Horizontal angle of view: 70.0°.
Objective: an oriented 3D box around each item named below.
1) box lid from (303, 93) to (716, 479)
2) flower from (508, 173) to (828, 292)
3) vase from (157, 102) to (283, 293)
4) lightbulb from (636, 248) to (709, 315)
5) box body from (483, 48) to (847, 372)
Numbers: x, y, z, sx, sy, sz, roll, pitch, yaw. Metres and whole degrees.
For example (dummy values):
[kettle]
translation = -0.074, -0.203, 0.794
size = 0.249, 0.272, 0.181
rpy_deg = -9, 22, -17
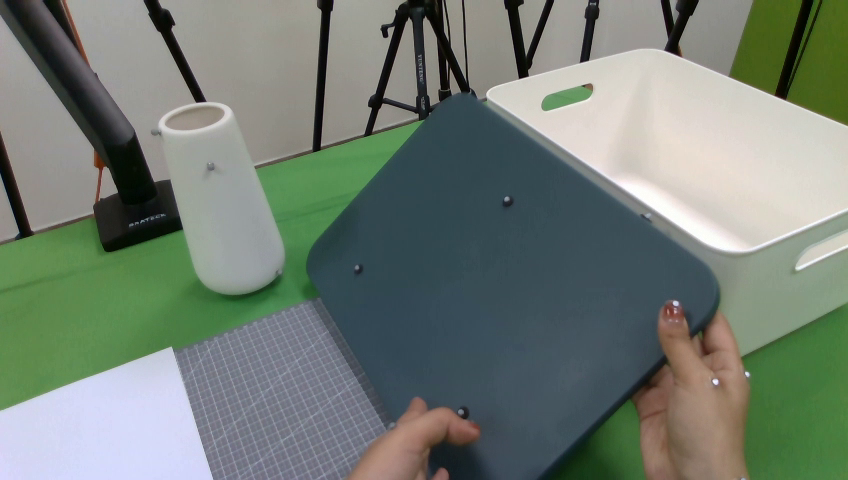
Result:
[box lid]
translation = 0.036, 0.027, 0.545
size = 0.263, 0.015, 0.367
rpy_deg = -47, 46, 5
[flower]
translation = 0.265, -0.010, 0.699
size = 0.359, 0.038, 0.044
rpy_deg = 22, 37, 24
[vase]
translation = -0.214, -0.040, 0.640
size = 0.098, 0.202, 0.097
rpy_deg = -4, 37, 3
[lightbulb]
translation = 0.244, 0.035, 0.613
size = 0.059, 0.060, 0.107
rpy_deg = -5, 21, -2
[box body]
translation = 0.256, -0.057, 0.650
size = 0.254, 0.162, 0.360
rpy_deg = -19, 40, -19
